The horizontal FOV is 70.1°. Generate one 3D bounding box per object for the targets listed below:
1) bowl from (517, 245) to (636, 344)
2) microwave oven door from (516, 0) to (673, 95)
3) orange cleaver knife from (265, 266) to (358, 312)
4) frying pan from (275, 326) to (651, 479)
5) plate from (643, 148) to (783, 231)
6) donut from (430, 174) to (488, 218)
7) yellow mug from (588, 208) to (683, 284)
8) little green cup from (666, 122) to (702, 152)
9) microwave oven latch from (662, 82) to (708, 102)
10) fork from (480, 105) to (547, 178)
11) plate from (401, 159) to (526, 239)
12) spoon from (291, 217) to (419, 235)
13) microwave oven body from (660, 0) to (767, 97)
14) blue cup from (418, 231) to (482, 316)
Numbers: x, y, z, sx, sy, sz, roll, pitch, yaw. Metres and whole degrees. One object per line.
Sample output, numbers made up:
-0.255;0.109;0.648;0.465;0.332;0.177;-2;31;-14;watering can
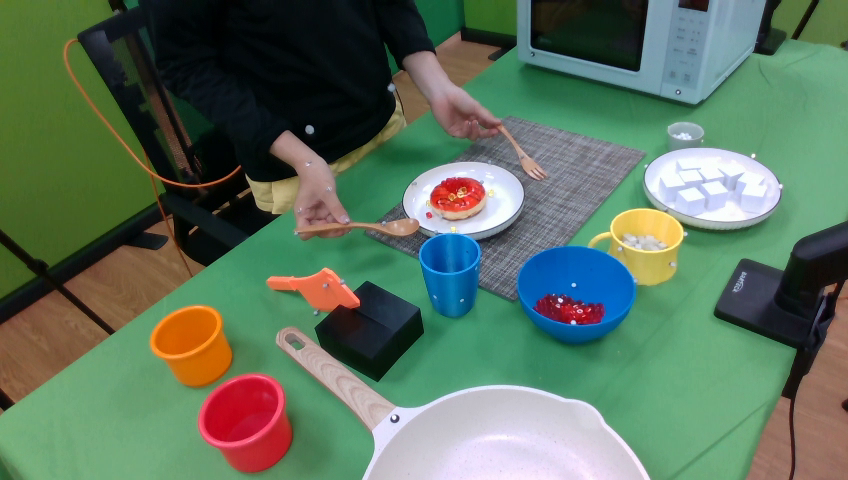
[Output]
0.200;0.084;0.803;0.151;0.077;0.150;-4;40;4;bowl
0.344;-0.458;1.256;0.353;0.245;0.039;26;51;33;microwave oven door
-0.164;0.073;0.864;0.210;0.077;0.012;-6;31;50;orange cleaver knife
0.003;0.229;0.641;0.484;0.103;0.308;34;54;28;frying pan
0.464;-0.080;0.986;0.207;0.039;0.206;-4;41;4;plate
0.058;-0.076;1.015;0.099;0.048;0.098;-6;37;5;donut
0.305;0.009;0.884;0.131;0.064;0.099;-4;41;5;yellow mug
0.471;-0.184;1.102;0.061;0.039;0.061;-5;41;5;little green cup
0.518;-0.298;1.203;0.078;0.029;0.030;28;53;35;microwave oven latch
0.162;-0.186;1.125;0.028;0.019;0.206;-28;64;-12;fork
0.067;-0.065;1.019;0.209;0.038;0.208;-4;40;4;plate
-0.101;-0.021;0.911;0.195;0.021;0.041;0;40;-20;spoon
0.473;-0.516;1.313;0.438;0.261;0.327;26;51;34;microwave oven body
0.040;0.053;0.843;0.092;0.100;0.092;-4;43;4;blue cup
